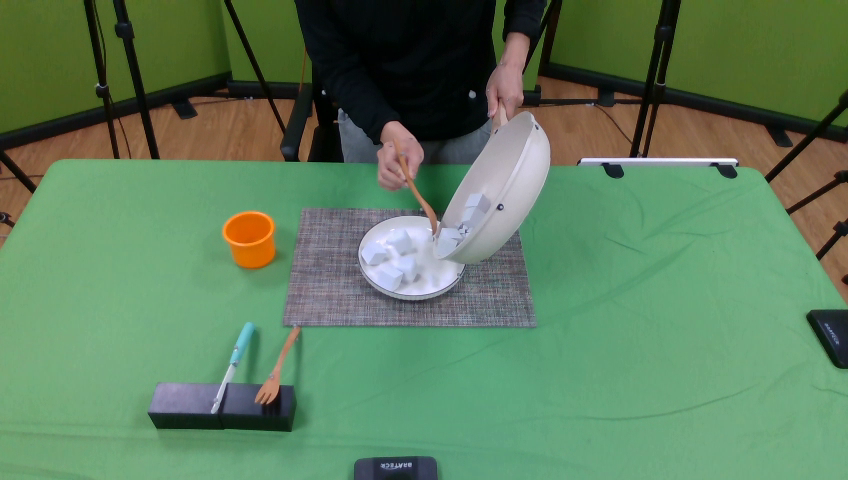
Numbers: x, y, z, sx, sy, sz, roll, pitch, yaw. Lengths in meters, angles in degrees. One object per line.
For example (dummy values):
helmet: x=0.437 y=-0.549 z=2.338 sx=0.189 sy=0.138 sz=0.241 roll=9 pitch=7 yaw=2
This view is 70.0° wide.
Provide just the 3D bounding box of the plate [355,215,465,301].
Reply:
plate: x=-0.025 y=0.038 z=1.143 sx=0.208 sy=0.039 sz=0.206 roll=3 pitch=46 yaw=-3

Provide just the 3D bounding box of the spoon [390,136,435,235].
spoon: x=-0.021 y=-0.094 z=1.073 sx=0.021 sy=0.194 sz=0.041 roll=-22 pitch=22 yaw=15

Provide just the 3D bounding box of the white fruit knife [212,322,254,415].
white fruit knife: x=-0.298 y=0.193 z=0.947 sx=0.016 sy=0.027 sz=0.206 roll=2 pitch=31 yaw=-1

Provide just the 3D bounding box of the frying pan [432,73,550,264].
frying pan: x=0.131 y=-0.159 z=1.103 sx=0.103 sy=0.307 sz=0.485 roll=25 pitch=48 yaw=-18

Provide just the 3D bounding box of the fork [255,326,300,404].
fork: x=-0.226 y=0.192 z=0.955 sx=0.028 sy=0.019 sz=0.206 roll=-2 pitch=27 yaw=5
